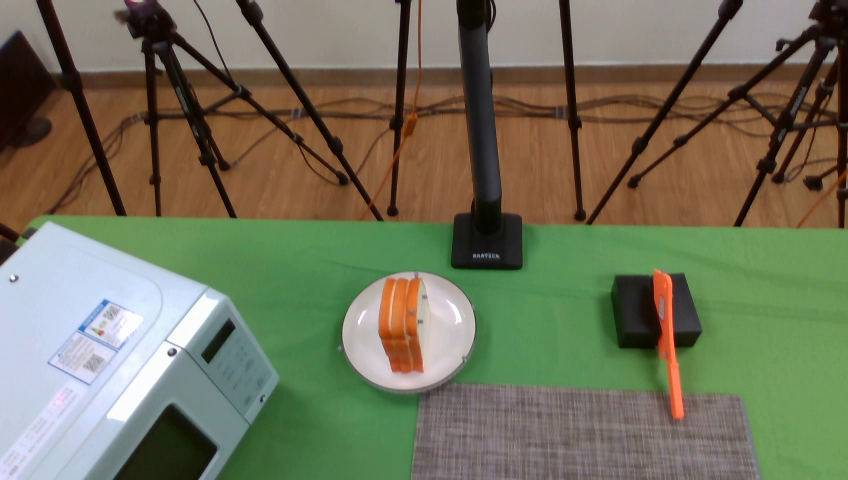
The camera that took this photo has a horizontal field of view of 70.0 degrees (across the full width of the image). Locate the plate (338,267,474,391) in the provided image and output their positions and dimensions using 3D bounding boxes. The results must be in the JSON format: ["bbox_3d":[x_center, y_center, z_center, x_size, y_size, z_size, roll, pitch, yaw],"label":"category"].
[{"bbox_3d":[-0.026,0.137,0.930,0.207,0.039,0.205,-2,54,3],"label":"plate"}]

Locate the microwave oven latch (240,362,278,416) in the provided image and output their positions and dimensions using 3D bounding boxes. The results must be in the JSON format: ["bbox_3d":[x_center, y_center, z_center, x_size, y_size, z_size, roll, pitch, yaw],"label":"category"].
[{"bbox_3d":[-0.241,0.211,0.872,0.030,0.030,0.079,20,58,18],"label":"microwave oven latch"}]

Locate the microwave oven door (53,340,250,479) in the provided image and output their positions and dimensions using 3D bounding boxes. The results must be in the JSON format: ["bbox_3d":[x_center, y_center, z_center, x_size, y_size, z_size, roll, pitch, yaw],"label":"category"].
[{"bbox_3d":[-0.345,0.312,0.679,0.039,0.246,0.354,18,57,18],"label":"microwave oven door"}]

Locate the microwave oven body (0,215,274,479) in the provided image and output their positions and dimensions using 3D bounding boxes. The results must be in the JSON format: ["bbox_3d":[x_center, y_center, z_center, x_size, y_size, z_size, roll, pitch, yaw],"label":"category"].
[{"bbox_3d":[-0.458,0.240,0.749,0.324,0.262,0.439,19,58,17],"label":"microwave oven body"}]

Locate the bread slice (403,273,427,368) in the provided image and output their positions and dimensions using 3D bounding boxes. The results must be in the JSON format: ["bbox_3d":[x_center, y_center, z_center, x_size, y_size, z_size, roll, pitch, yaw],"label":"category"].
[{"bbox_3d":[-0.012,0.113,0.877,0.018,0.135,0.106,-2,57,7],"label":"bread slice"}]

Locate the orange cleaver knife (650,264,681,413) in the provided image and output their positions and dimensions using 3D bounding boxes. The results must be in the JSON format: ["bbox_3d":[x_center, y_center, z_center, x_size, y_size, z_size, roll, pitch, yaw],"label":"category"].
[{"bbox_3d":[0.341,0.137,0.865,0.012,0.077,0.210,-3,83,2],"label":"orange cleaver knife"}]
